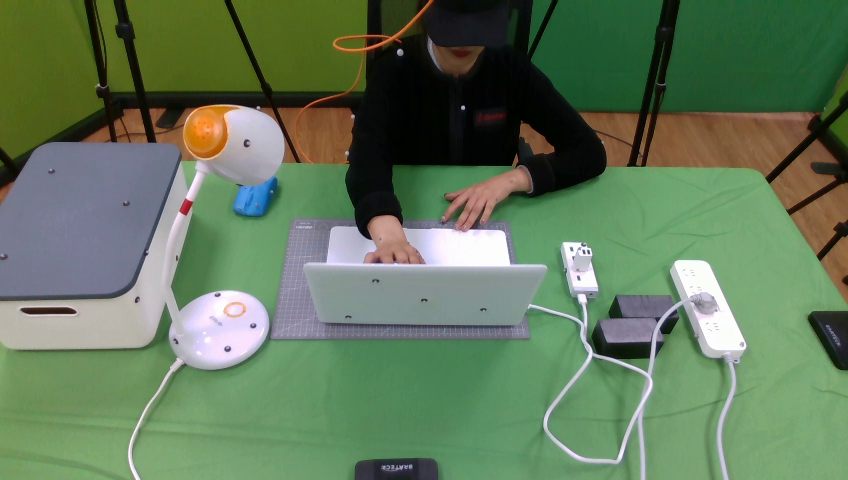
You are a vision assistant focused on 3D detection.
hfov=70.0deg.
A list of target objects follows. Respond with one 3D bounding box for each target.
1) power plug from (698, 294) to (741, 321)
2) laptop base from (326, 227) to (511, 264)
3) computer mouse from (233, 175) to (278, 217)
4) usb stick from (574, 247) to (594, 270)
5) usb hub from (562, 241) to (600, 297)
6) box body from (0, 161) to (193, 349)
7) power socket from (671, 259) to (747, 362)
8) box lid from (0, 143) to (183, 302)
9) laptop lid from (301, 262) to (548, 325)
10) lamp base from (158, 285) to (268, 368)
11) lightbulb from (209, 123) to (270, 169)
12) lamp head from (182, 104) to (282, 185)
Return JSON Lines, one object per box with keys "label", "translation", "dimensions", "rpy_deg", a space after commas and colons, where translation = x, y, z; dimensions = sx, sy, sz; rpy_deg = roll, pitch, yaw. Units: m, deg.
{"label": "power plug", "translation": [0.515, 0.127, 1.070], "dimensions": [0.035, 0.053, 0.072], "rpy_deg": [-18, 56, -7]}
{"label": "laptop base", "translation": [-0.009, 0.062, 1.137], "dimensions": [0.354, 0.023, 0.234], "rpy_deg": [1, 42, -3]}
{"label": "computer mouse", "translation": [-0.349, -0.098, 1.258], "dimensions": [0.063, 0.041, 0.116], "rpy_deg": [11, 50, 3]}
{"label": "usb stick", "translation": [0.298, 0.040, 1.135], "dimensions": [0.027, 0.059, 0.021], "rpy_deg": [2, 46, -4]}
{"label": "usb hub", "translation": [0.300, 0.055, 1.162], "dimensions": [0.049, 0.025, 0.124], "rpy_deg": [2, 46, -3]}
{"label": "box body", "translation": [-0.570, 0.006, 1.054], "dimensions": [0.254, 0.161, 0.361], "rpy_deg": [-1, 46, -4]}
{"label": "power socket", "translation": [0.516, 0.119, 1.108], "dimensions": [0.072, 0.033, 0.225], "rpy_deg": [0, 46, -2]}
{"label": "box lid", "translation": [-0.567, -0.045, 0.999], "dimensions": [0.263, 0.015, 0.369], "rpy_deg": [-1, 46, -4]}
{"label": "laptop lid", "translation": [-0.002, 0.090, 0.951], "dimensions": [0.357, 0.242, 0.013], "rpy_deg": [1, 62, -4]}
{"label": "lamp base", "translation": [-0.348, 0.102, 0.963], "dimensions": [0.160, 0.181, 0.178], "rpy_deg": [23, 51, 18]}
{"label": "lightbulb", "translation": [-0.260, -0.136, 0.847], "dimensions": [0.059, 0.108, 0.059], "rpy_deg": [-4, 78, 20]}
{"label": "lamp head", "translation": [-0.271, -0.133, 0.825], "dimensions": [0.112, 0.112, 0.123], "rpy_deg": [20, 8, 15]}
